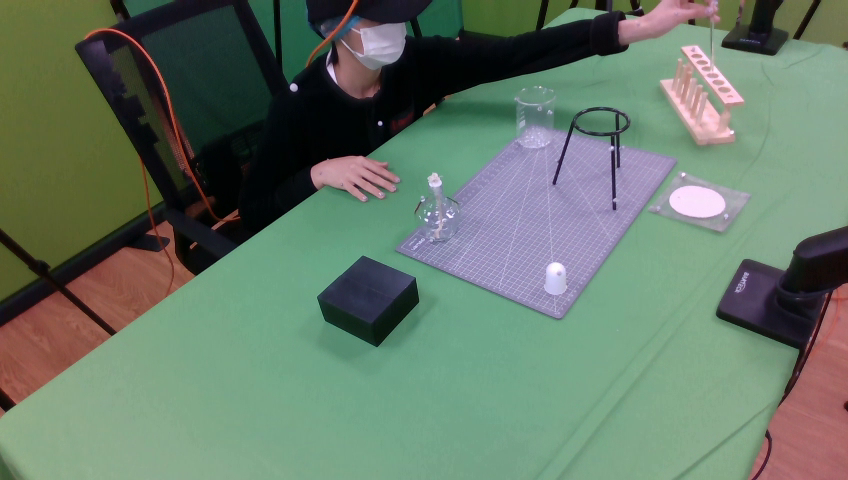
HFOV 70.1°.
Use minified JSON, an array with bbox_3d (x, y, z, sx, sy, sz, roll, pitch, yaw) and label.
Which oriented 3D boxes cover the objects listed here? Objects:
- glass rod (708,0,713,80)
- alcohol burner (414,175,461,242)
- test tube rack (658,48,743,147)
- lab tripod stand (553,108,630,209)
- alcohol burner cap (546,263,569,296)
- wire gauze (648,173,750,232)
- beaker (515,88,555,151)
[{"bbox_3d":[0.518,-0.373,1.093,0.008,0.201,0.008,-12,36,10],"label":"glass rod"},{"bbox_3d":[0.021,-0.055,0.963,0.078,0.119,0.077,-4,41,4],"label":"alcohol burner"},{"bbox_3d":[0.532,-0.284,1.181,0.067,0.085,0.241,-5,40,4],"label":"test tube rack"},{"bbox_3d":[0.292,-0.144,1.010,0.148,0.132,0.147,-5,38,4],"label":"lab tripod stand"},{"bbox_3d":[0.191,0.053,0.862,0.034,0.048,0.033,-5,40,4],"label":"alcohol burner cap"},{"bbox_3d":[0.451,-0.062,0.990,0.120,0.011,0.125,26,49,32],"label":"wire gauze"},{"bbox_3d":[0.213,-0.230,1.152,0.073,0.101,0.084,20,47,29],"label":"beaker"}]
